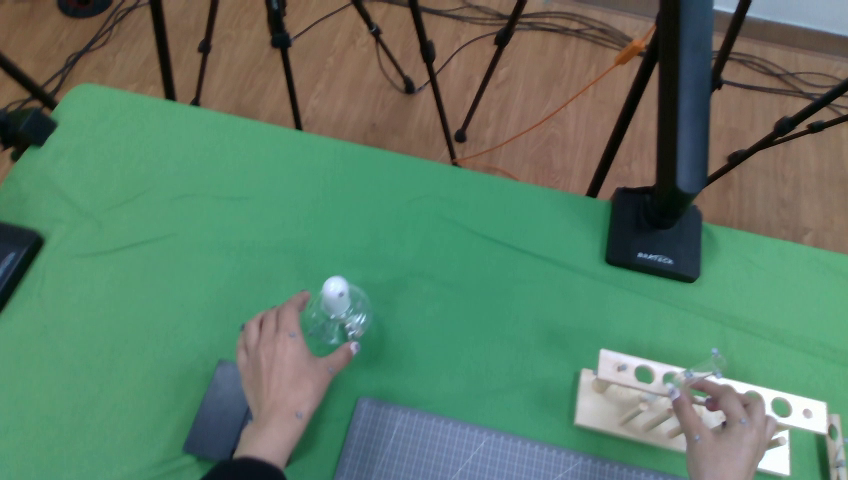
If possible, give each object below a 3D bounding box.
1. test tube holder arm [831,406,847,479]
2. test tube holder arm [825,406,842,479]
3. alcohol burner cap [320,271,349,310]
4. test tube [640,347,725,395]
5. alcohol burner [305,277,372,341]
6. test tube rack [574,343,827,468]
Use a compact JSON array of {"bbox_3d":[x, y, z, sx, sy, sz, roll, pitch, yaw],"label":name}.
[{"bbox_3d":[0.469,0.274,0.671,0.013,0.015,0.177,-12,57,32],"label":"test tube holder arm"},{"bbox_3d":[0.469,0.236,0.695,0.010,0.015,0.087,-11,57,33],"label":"test tube holder arm"},{"bbox_3d":[-0.098,0.053,0.665,0.034,0.048,0.033,5,57,-7],"label":"alcohol burner cap"},{"bbox_3d":[0.267,0.141,0.639,0.017,0.151,0.017,4,63,-7],"label":"test tube"},{"bbox_3d":[-0.100,0.071,0.697,0.078,0.120,0.077,1,60,-1],"label":"alcohol burner"},{"bbox_3d":[0.300,0.185,0.674,0.242,0.086,0.066,13,62,4],"label":"test tube rack"}]
